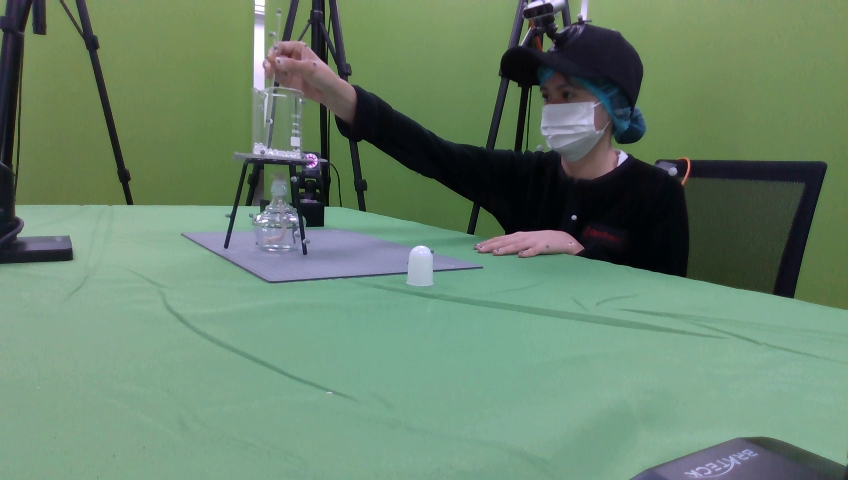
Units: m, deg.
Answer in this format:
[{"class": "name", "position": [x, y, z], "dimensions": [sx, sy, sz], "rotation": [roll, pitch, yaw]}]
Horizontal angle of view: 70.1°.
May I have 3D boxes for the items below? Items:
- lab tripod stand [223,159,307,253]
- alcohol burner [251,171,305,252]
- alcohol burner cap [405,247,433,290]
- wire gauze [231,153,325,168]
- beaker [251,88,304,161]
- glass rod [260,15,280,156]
[{"class": "lab tripod stand", "position": [-0.220, -0.053, 0.896], "dimensions": [0.148, 0.131, 0.148], "rotation": [1, 6, 0]}, {"class": "alcohol burner", "position": [-0.214, -0.042, 0.888], "dimensions": [0.078, 0.119, 0.078], "rotation": [2, 9, 0]}, {"class": "alcohol burner cap", "position": [-0.005, 0.031, 0.698], "dimensions": [0.034, 0.048, 0.034], "rotation": [3, 8, 0]}, {"class": "wire gauze", "position": [-0.215, -0.117, 0.882], "dimensions": [0.125, 0.011, 0.121], "rotation": [3, 7, -19]}, {"class": "beaker", "position": [-0.214, -0.165, 0.874], "dimensions": [0.074, 0.100, 0.084], "rotation": [4, 6, 15]}, {"class": "glass rod", "position": [-0.218, -0.219, 0.855], "dimensions": [0.008, 0.199, 0.008], "rotation": [7, 2, 0]}]
